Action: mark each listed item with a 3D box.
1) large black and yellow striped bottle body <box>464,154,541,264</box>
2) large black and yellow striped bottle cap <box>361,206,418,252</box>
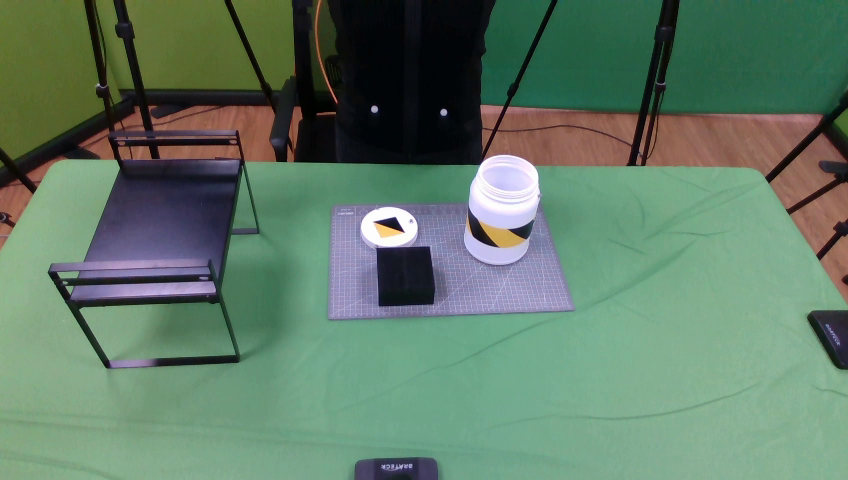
[{"bbox_3d":[0.148,-0.058,1.145,0.131,0.185,0.130,2,46,-2],"label":"large black and yellow striped bottle body"},{"bbox_3d":[-0.068,-0.024,1.214,0.115,0.019,0.114,1,47,-1],"label":"large black and yellow striped bottle cap"}]
